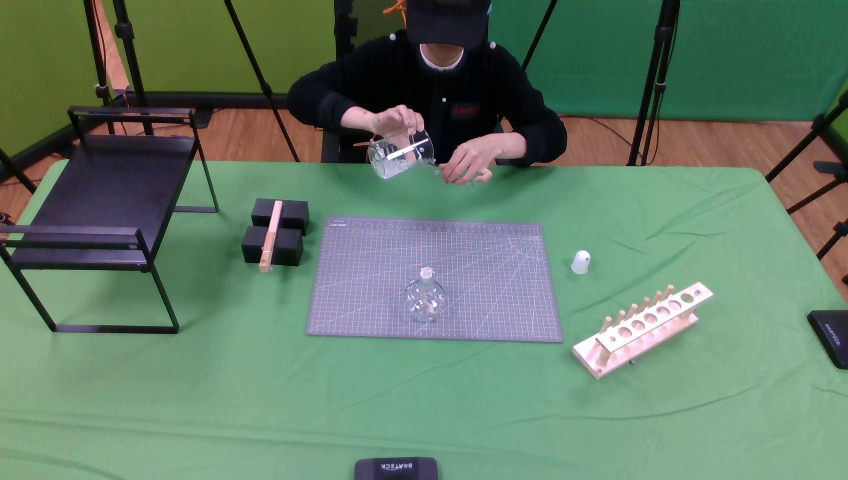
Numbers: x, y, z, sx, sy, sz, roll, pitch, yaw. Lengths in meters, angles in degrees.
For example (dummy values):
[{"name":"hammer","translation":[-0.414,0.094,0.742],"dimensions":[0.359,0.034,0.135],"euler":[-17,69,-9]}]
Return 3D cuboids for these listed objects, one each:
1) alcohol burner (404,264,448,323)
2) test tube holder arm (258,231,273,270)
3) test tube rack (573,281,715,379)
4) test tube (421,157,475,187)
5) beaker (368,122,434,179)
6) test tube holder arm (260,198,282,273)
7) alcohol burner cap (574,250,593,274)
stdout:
[{"name":"alcohol burner","translation":[0.003,0.087,1.042],"dimensions":[0.078,0.120,0.077],"euler":[1,45,0]},{"name":"test tube holder arm","translation":[-0.282,0.018,1.086],"dimensions":[0.015,0.010,0.087],"euler":[-3,47,3]},{"name":"test tube rack","translation":[0.378,0.140,1.038],"dimensions":[0.242,0.085,0.066],"euler":[-22,51,-23]},{"name":"test tube","translation":[0.050,-0.130,1.180],"dimensions":[0.151,0.017,0.017],"euler":[18,30,-45]},{"name":"beaker","translation":[-0.043,-0.156,1.088],"dimensions":[0.100,0.084,0.073],"euler":[-27,43,-20]},{"name":"test tube holder arm","translation":[-0.282,-0.012,1.120],"dimensions":[0.015,0.013,0.177],"euler":[-3,48,3]},{"name":"alcohol burner cap","translation":[0.308,0.039,1.163],"dimensions":[0.034,0.048,0.033],"euler":[1,46,-1]}]
